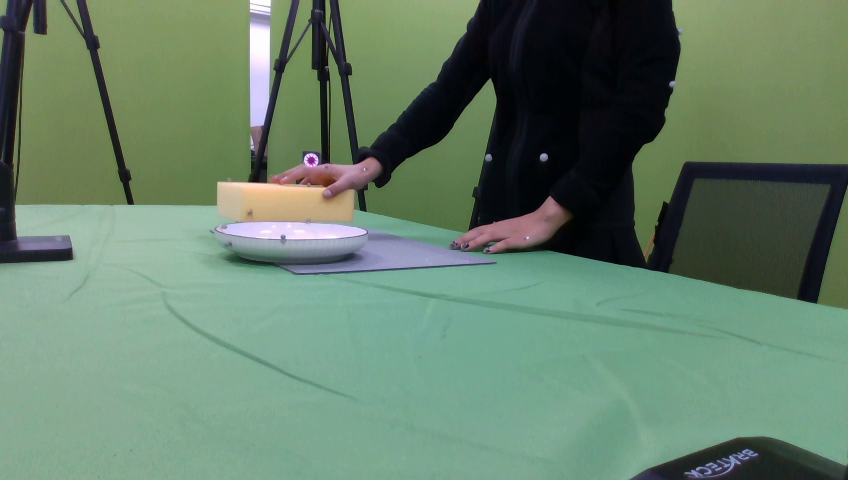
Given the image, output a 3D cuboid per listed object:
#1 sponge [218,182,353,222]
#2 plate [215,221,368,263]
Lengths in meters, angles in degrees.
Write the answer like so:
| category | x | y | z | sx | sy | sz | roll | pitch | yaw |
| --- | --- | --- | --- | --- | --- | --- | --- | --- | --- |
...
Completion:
| category | x | y | z | sx | sy | sz | roll | pitch | yaw |
| --- | --- | --- | --- | --- | --- | --- | --- | --- | --- |
| sponge | -0.242 | -0.068 | 1.063 | 0.208 | 0.061 | 0.117 | -3 | 9 | -37 |
| plate | -0.182 | 0.002 | 0.846 | 0.209 | 0.038 | 0.209 | 2 | 7 | 0 |
